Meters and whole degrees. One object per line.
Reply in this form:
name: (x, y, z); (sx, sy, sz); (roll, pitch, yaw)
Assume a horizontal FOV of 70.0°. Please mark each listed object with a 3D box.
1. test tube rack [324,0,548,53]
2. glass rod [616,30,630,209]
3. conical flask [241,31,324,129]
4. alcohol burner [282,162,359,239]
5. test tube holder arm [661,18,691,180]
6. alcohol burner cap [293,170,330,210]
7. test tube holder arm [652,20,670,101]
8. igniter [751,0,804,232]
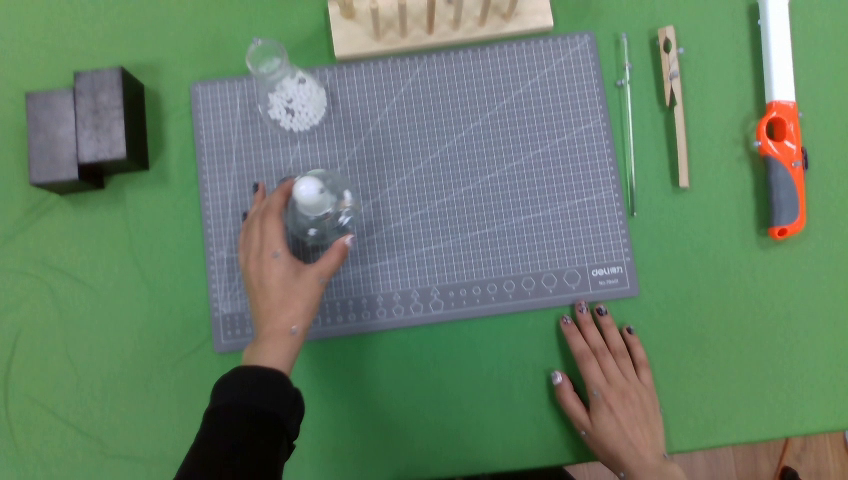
test tube rack: (0.013, -0.262, 0.637); (0.242, 0.085, 0.066); (-8, 83, -1)
glass rod: (0.217, -0.132, 0.660); (0.008, 0.008, 0.199); (-1, 86, 0)
conical flask: (-0.146, -0.163, 0.603); (0.075, 0.122, 0.075); (0, 83, 0)
alcohol burner: (-0.105, -0.042, 0.595); (0.078, 0.119, 0.077); (0, 82, 3)
test tube holder arm: (0.271, -0.153, 0.656); (0.013, 0.015, 0.178); (-12, 82, 36)
alcohol burner cap: (-0.105, -0.048, 0.559); (0.034, 0.048, 0.033); (1, 79, -4)
test tube holder arm: (0.262, -0.196, 0.664); (0.010, 0.015, 0.087); (-10, 83, 36)
igniter: (0.378, -0.145, 0.652); (0.057, 0.025, 0.275); (2, 84, -10)
